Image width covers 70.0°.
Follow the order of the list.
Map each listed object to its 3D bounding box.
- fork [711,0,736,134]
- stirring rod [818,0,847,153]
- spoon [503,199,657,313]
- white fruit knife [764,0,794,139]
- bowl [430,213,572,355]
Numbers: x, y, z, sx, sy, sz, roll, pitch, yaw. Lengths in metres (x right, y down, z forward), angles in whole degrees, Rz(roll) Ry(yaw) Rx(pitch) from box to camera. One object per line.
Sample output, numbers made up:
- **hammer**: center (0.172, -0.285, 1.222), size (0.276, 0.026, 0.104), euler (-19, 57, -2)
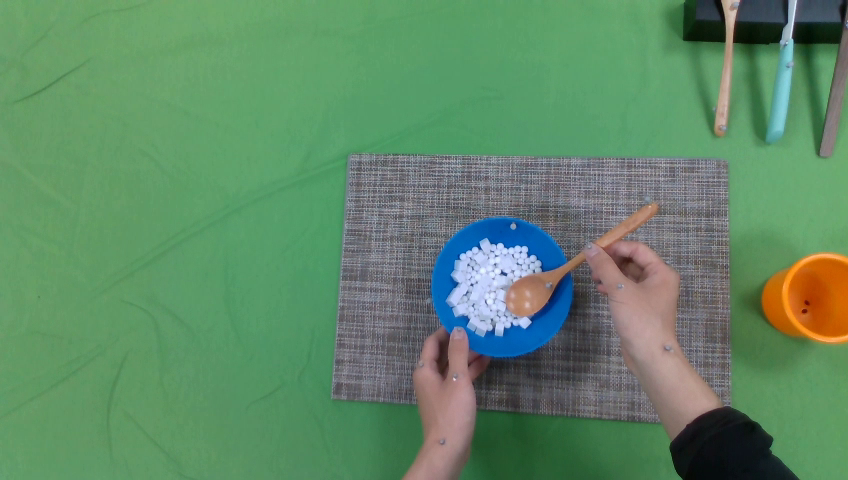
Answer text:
- **fork**: center (0.340, -0.226, 0.686), size (0.028, 0.018, 0.208), euler (-1, 102, 4)
- **stirring rod**: center (0.463, -0.186, 0.676), size (0.014, 0.006, 0.176), euler (4, 102, 5)
- **spoon**: center (0.155, 0.019, 0.617), size (0.194, 0.022, 0.041), euler (-41, 75, 36)
- **white fruit knife**: center (0.402, -0.219, 0.676), size (0.016, 0.027, 0.208), euler (3, 98, 5)
- **bowl**: center (0.085, 0.051, 0.674), size (0.151, 0.077, 0.151), euler (-1, 81, 7)
